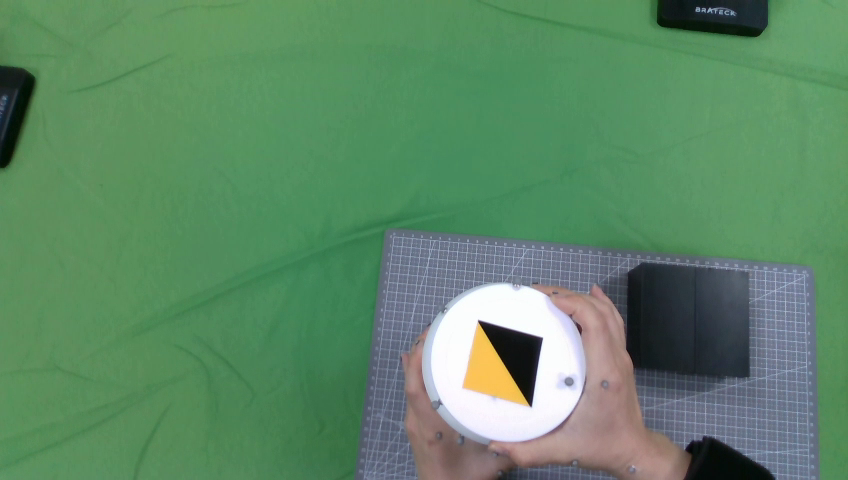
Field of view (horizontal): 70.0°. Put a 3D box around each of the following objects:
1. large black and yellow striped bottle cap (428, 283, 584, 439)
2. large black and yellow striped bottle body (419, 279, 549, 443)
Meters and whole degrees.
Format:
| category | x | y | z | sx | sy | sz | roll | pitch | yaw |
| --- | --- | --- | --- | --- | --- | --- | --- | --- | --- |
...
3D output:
| category | x | y | z | sx | sy | sz | roll | pitch | yaw |
| --- | --- | --- | --- | --- | --- | --- | --- | --- | --- |
| large black and yellow striped bottle cap | 0.060 | 0.088 | 0.449 | 0.115 | 0.019 | 0.114 | -1 | 78 | 3 |
| large black and yellow striped bottle body | 0.063 | 0.106 | 0.530 | 0.131 | 0.185 | 0.130 | 0 | 77 | 2 |
